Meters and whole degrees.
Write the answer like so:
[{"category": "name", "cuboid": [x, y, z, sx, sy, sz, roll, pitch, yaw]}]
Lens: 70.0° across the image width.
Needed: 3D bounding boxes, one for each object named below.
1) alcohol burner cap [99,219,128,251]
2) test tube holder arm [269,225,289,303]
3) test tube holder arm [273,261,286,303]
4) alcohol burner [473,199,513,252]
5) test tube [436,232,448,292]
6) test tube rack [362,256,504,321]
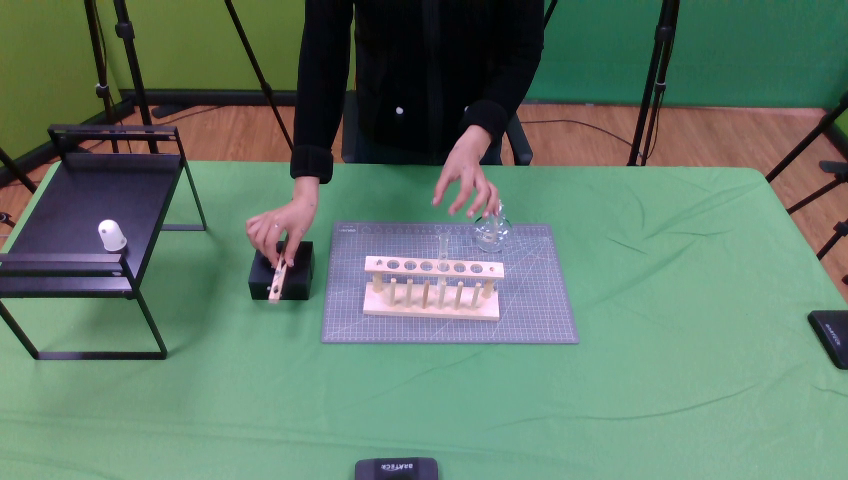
[{"category": "alcohol burner cap", "cuboid": [-0.467, -0.010, 0.907, 0.034, 0.048, 0.033, 2, 47, -2]}, {"category": "test tube holder arm", "cuboid": [-0.256, 0.039, 1.076, 0.013, 0.015, 0.177, 12, 44, -16]}, {"category": "test tube holder arm", "cuboid": [-0.250, 0.072, 1.046, 0.010, 0.015, 0.087, 13, 43, -14]}, {"category": "alcohol burner", "cuboid": [0.135, -0.034, 1.174, 0.078, 0.120, 0.077, 1, 47, -1]}, {"category": "test tube", "cuboid": [0.031, 0.042, 1.042, 0.017, 0.151, 0.017, 1, 48, -1]}, {"category": "test tube rack", "cuboid": [0.014, 0.086, 1.069, 0.242, 0.085, 0.066, 3, 45, -2]}]
